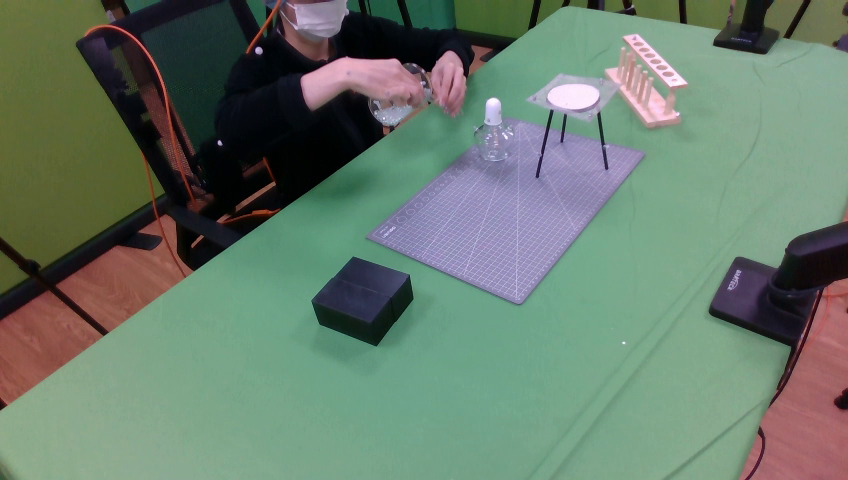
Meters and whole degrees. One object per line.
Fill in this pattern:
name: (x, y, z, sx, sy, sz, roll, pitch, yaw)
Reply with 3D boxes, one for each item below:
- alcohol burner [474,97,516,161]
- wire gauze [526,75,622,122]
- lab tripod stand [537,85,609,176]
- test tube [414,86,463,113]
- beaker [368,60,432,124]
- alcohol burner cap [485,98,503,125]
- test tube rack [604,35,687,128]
alcohol burner: (0.131, -0.208, 1.121, 0.078, 0.119, 0.077, -6, 40, 5)
wire gauze: (0.255, -0.248, 1.030, 0.124, 0.011, 0.122, 24, 51, 32)
lab tripod stand: (0.259, -0.192, 1.068, 0.148, 0.132, 0.147, -4, 42, 4)
test tube: (0.030, -0.263, 1.135, 0.017, 0.017, 0.151, 28, 12, 34)
beaker: (-0.042, -0.250, 1.042, 0.073, 0.084, 0.100, 15, 48, 31)
alcohol burner cap: (0.126, -0.234, 1.097, 0.034, 0.048, 0.033, -3, 39, 3)
test tube rack: (0.447, -0.330, 1.241, 0.067, 0.085, 0.241, -9, 41, -2)
